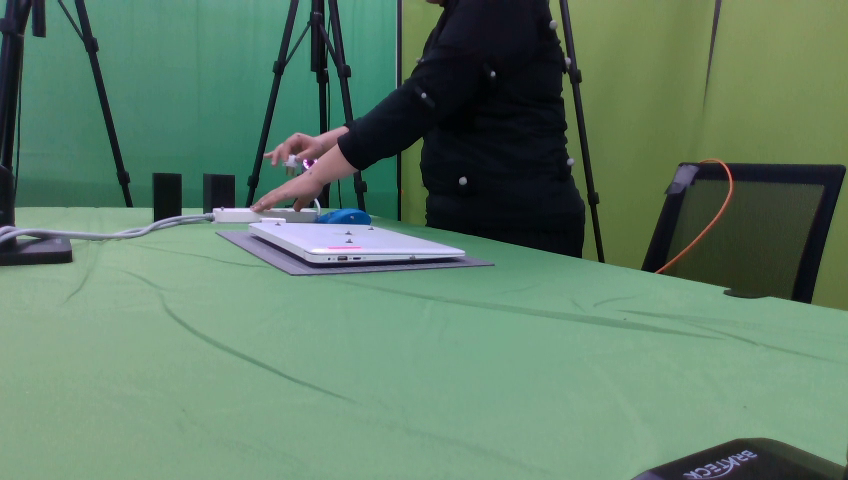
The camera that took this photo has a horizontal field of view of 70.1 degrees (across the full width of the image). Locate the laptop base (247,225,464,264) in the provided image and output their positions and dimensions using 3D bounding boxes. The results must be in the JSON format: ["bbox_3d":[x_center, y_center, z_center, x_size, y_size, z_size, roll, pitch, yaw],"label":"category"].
[{"bbox_3d":[-0.124,0.006,0.955,0.237,0.023,0.352,2,6,-30],"label":"laptop base"}]

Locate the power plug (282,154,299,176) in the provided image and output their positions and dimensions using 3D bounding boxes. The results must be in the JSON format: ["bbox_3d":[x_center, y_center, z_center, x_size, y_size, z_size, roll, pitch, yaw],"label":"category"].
[{"bbox_3d":[-0.302,-0.169,1.388,0.035,0.052,0.072,10,-2,1],"label":"power plug"}]

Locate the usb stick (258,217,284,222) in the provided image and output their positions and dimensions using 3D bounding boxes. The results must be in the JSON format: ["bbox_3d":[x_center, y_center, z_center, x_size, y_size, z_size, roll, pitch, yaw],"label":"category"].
[{"bbox_3d":[-0.291,-0.028,1.118,0.059,0.027,0.021,-4,11,-29],"label":"usb stick"}]

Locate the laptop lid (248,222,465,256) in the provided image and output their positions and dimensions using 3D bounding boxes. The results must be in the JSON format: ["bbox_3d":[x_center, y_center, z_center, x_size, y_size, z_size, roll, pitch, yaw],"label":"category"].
[{"bbox_3d":[-0.122,-0.005,0.955,0.243,0.013,0.355,1,7,-28],"label":"laptop lid"}]

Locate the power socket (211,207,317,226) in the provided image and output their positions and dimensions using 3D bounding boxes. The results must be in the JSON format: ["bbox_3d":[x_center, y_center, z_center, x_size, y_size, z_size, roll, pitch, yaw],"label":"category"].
[{"bbox_3d":[-0.335,-0.051,1.282,0.228,0.032,0.072,-2,10,-29],"label":"power socket"}]

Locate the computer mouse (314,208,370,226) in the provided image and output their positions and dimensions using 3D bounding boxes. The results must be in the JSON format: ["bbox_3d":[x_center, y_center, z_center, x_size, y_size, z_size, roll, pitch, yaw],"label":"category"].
[{"bbox_3d":[-0.175,-0.046,1.291,0.118,0.041,0.062,-7,13,-33],"label":"computer mouse"}]
